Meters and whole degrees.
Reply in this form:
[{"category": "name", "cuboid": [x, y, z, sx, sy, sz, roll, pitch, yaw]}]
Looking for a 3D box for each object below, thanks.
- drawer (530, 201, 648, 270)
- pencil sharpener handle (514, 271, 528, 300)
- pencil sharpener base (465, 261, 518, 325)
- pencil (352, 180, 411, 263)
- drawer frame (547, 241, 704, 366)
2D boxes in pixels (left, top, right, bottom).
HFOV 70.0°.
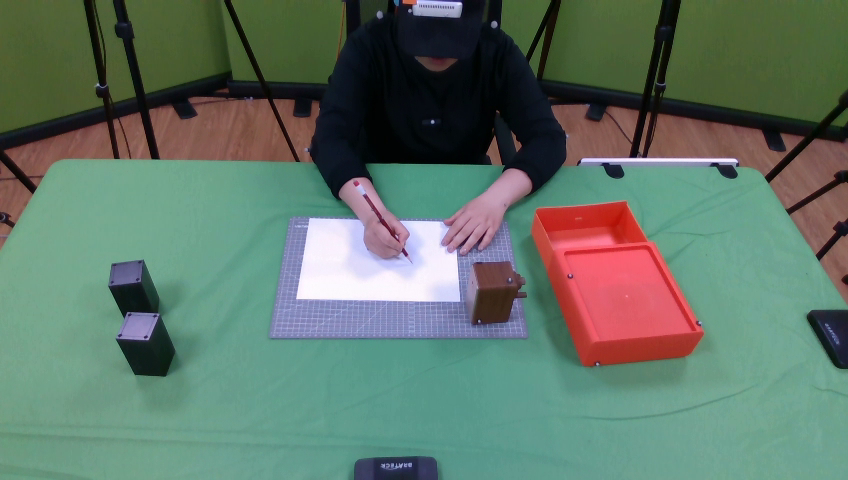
[{"category": "drawer", "cuboid": [0.329, 0.025, 1.159, 0.195, 0.073, 0.210, -5, 46, -9]}, {"category": "pencil sharpener handle", "cuboid": [0.169, 0.081, 1.051, 0.031, 0.068, 0.035, -3, 48, -7]}, {"category": "pencil sharpener base", "cuboid": [0.117, 0.093, 1.052, 0.077, 0.107, 0.061, -3, 46, -7]}, {"category": "pencil", "cuboid": [-0.076, -0.031, 1.124, 0.012, 0.195, 0.012, -30, 20, 12]}, {"category": "drawer frame", "cuboid": [0.348, 0.106, 1.077, 0.202, 0.083, 0.212, -4, 47, -9]}]
